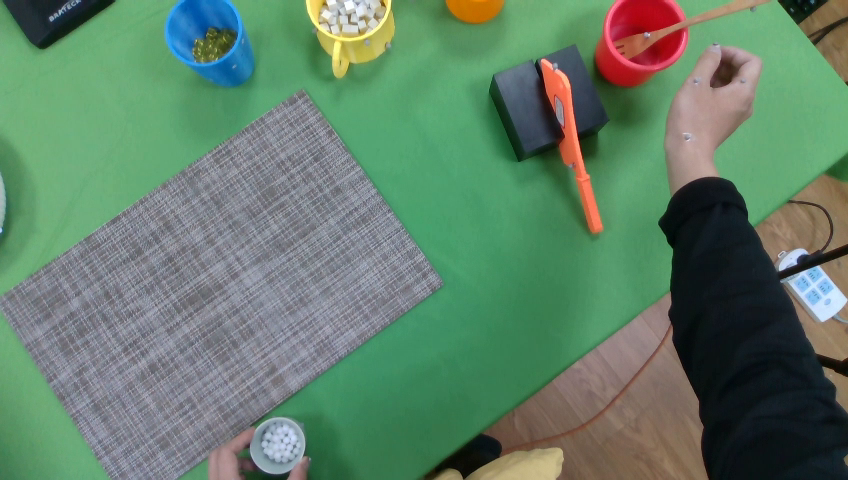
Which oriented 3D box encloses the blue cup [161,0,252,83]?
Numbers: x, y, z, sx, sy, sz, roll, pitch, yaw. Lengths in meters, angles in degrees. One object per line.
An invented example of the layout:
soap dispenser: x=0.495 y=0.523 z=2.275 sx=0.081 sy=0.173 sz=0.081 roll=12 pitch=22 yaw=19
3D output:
blue cup: x=-0.245 y=-0.229 z=0.710 sx=0.093 sy=0.100 sz=0.092 roll=0 pitch=85 yaw=-1

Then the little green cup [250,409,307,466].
little green cup: x=-0.164 y=0.226 z=0.699 sx=0.061 sy=0.038 sz=0.061 roll=0 pitch=88 yaw=2

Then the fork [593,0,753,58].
fork: x=0.292 y=-0.250 z=0.692 sx=0.206 sy=0.019 sz=0.028 roll=-11 pitch=80 yaw=41

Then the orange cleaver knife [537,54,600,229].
orange cleaver knife: x=0.169 y=-0.113 z=0.711 sx=0.012 sy=0.076 sz=0.213 roll=-23 pitch=114 yaw=-4

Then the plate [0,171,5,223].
plate: x=-0.601 y=-0.045 z=0.723 sx=0.208 sy=0.039 sz=0.207 roll=0 pitch=85 yaw=0

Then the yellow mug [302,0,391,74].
yellow mug: x=-0.095 y=-0.264 z=0.731 sx=0.100 sy=0.064 sz=0.130 roll=12 pitch=86 yaw=1
